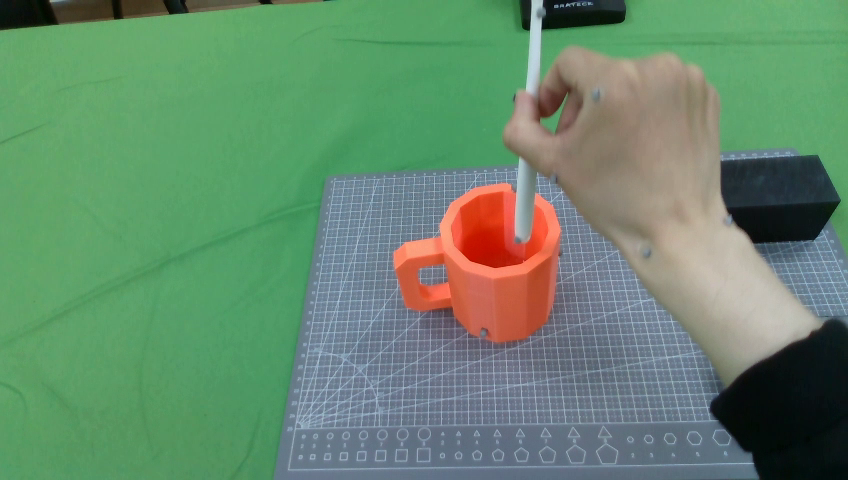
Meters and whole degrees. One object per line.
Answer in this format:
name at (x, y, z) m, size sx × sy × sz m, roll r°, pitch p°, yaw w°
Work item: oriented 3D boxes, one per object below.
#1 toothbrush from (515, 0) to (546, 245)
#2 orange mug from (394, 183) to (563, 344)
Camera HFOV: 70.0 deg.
toothbrush at (0.067, -0.073, 0.364) m, size 0.014 × 0.183 × 0.016 m, roll -28°, pitch 42°, yaw -33°
orange mug at (0.042, 0.022, 0.466) m, size 0.126 × 0.102 × 0.082 m, roll -7°, pitch 53°, yaw -2°
